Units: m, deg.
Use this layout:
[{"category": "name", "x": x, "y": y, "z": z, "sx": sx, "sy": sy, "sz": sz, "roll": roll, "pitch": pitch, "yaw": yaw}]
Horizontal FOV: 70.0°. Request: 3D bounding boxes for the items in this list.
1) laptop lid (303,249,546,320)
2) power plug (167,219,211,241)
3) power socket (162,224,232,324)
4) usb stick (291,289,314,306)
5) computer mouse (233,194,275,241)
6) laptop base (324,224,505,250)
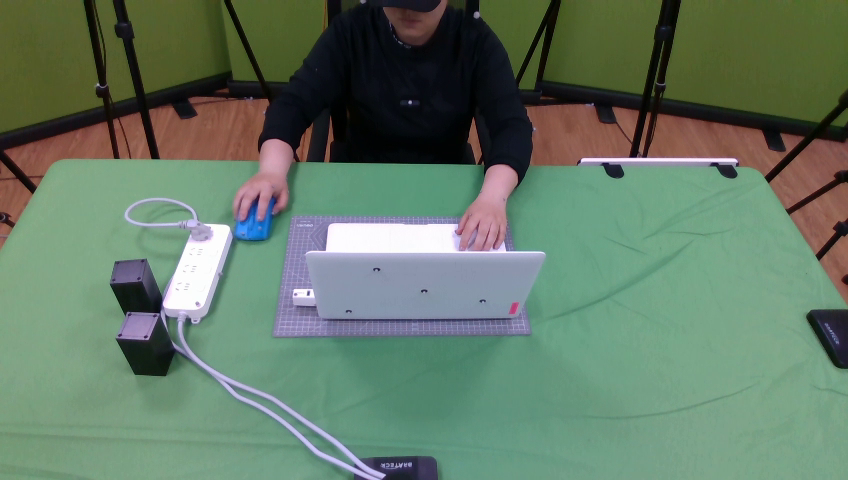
[{"category": "laptop lid", "x": -0.002, "y": 0.077, "z": 0.962, "sx": 0.357, "sy": 0.242, "sz": 0.013, "roll": 1, "pitch": 58, "yaw": -5}, {"category": "power plug", "x": -0.438, "y": -0.017, "z": 1.143, "sx": 0.072, "sy": 0.053, "sz": 0.035, "roll": 11, "pitch": 44, "yaw": 6}, {"category": "power socket", "x": -0.411, "y": 0.052, "z": 1.106, "sx": 0.072, "sy": 0.033, "sz": 0.225, "roll": 4, "pitch": 45, "yaw": -1}, {"category": "usb stick", "x": -0.203, "y": 0.101, "z": 1.067, "sx": 0.059, "sy": 0.027, "sz": 0.021, "roll": 4, "pitch": 45, "yaw": -6}, {"category": "computer mouse", "x": -0.337, "y": -0.048, "z": 1.207, "sx": 0.063, "sy": 0.041, "sz": 0.116, "roll": 5, "pitch": 51, "yaw": -2}, {"category": "laptop base", "x": -0.014, "y": 0.055, "z": 1.144, "sx": 0.355, "sy": 0.023, "sz": 0.234, "roll": 0, "pitch": 42, "yaw": -4}]
